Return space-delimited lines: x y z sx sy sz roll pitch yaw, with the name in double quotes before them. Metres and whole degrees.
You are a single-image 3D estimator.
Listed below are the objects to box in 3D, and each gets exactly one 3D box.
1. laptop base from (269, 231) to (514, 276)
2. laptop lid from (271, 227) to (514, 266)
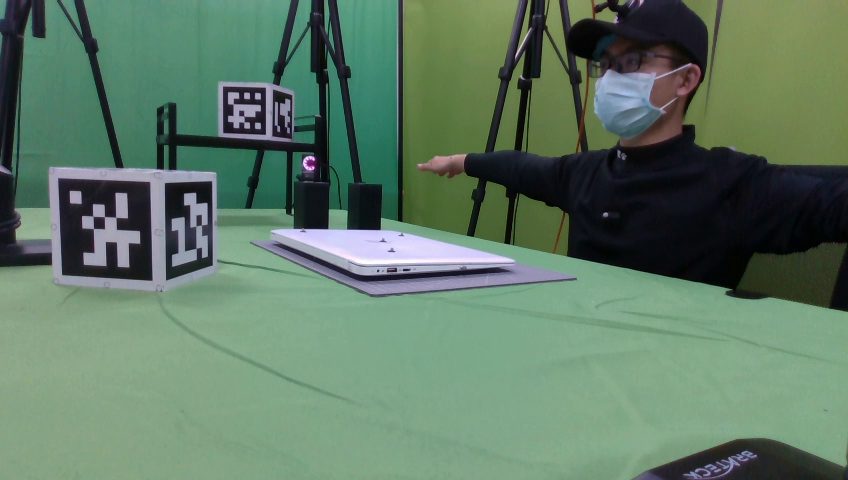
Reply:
"laptop base" -0.066 0.017 0.893 0.237 0.023 0.352 1 6 -32
"laptop lid" -0.063 0.005 0.893 0.243 0.013 0.355 1 7 -30
